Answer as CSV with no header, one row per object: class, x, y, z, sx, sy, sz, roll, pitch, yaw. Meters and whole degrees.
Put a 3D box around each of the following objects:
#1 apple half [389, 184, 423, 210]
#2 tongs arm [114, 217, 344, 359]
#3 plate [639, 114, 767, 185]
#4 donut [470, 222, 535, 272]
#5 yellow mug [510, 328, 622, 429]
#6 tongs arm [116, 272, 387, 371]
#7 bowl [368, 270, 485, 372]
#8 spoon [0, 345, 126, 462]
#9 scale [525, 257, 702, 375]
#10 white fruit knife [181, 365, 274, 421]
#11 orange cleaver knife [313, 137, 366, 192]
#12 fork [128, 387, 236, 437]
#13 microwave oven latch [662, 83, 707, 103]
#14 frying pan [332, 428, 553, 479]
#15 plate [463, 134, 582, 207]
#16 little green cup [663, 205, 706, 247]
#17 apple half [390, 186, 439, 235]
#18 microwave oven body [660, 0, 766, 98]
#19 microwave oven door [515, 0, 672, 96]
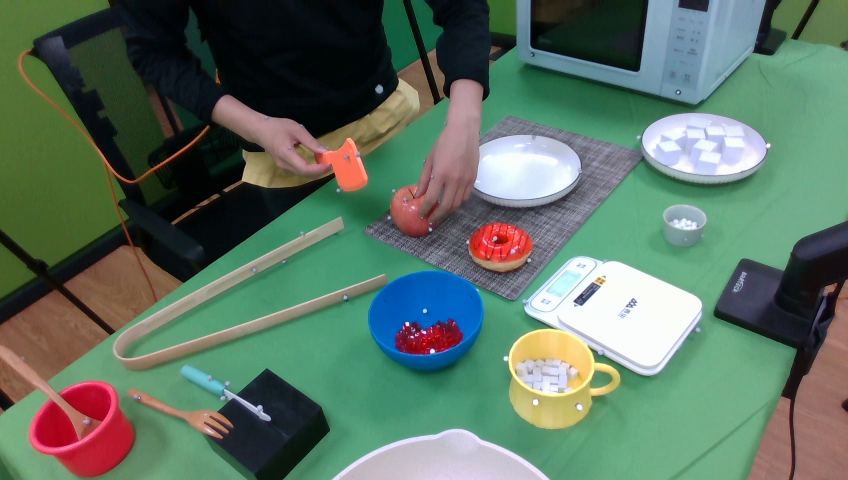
apple half,-0.028,-0.061,1.003,0.081,0.081,0.032,-23,46,-17
tongs arm,-0.280,0.068,0.927,0.386,0.026,0.050,-29,49,-23
plate,0.489,-0.157,1.074,0.207,0.039,0.206,-4,40,4
donut,0.119,0.009,0.923,0.099,0.048,0.098,-4,38,3
yellow mug,0.169,0.164,0.721,0.130,0.064,0.099,0,40,8
tongs arm,-0.237,0.115,0.870,0.389,0.028,0.028,-18,49,-12
bowl,0.007,0.118,0.791,0.151,0.077,0.150,-5,40,4
spoon,-0.434,0.192,0.720,0.194,0.021,0.042,47,53,-7
scale,0.254,0.091,0.821,0.199,0.032,0.149,28,51,35
white fruit knife,-0.245,0.187,0.747,0.205,0.027,0.016,9,41,40
orange cleaver knife,-0.129,-0.109,0.910,0.012,0.077,0.210,-18,11,-23
fork,-0.305,0.207,0.744,0.206,0.019,0.028,3,42,36
microwave oven latch,0.517,-0.296,1.204,0.078,0.029,0.030,28,52,35
frying pan,-0.089,0.306,0.564,0.487,0.103,0.306,10,41,7
plate,0.173,-0.119,1.070,0.209,0.038,0.208,-4,40,4
little green cup,0.396,-0.020,0.926,0.061,0.039,0.061,-4,40,4
apple half,-0.009,-0.041,0.978,0.081,0.075,0.053,-21,47,-21
microwave oven body,0.472,-0.513,1.317,0.438,0.261,0.327,26,51,34
microwave oven door,0.344,-0.455,1.259,0.353,0.245,0.039,26,51,33
